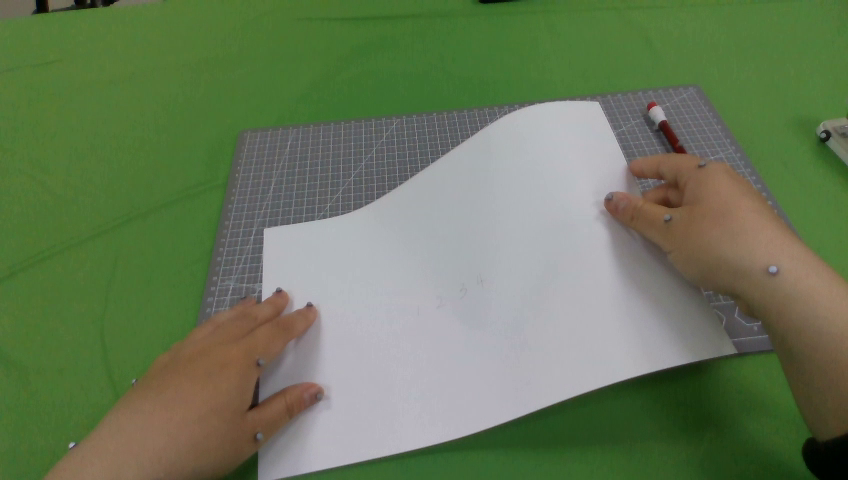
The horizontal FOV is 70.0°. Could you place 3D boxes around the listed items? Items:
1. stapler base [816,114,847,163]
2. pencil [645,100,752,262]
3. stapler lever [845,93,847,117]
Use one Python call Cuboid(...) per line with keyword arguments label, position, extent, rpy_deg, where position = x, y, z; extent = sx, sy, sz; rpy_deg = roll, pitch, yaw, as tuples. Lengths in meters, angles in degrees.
Cuboid(label="stapler base", position=(0.376, -0.067, 0.493), extent=(0.041, 0.025, 0.129), rpy_deg=(-11, 50, -2))
Cuboid(label="pencil", position=(0.224, -0.056, 0.502), extent=(0.012, 0.012, 0.192), rpy_deg=(-9, 50, -3))
Cuboid(label="stapler lever", position=(0.374, -0.082, 0.473), extent=(0.027, 0.040, 0.117), rpy_deg=(-11, 50, -2))
